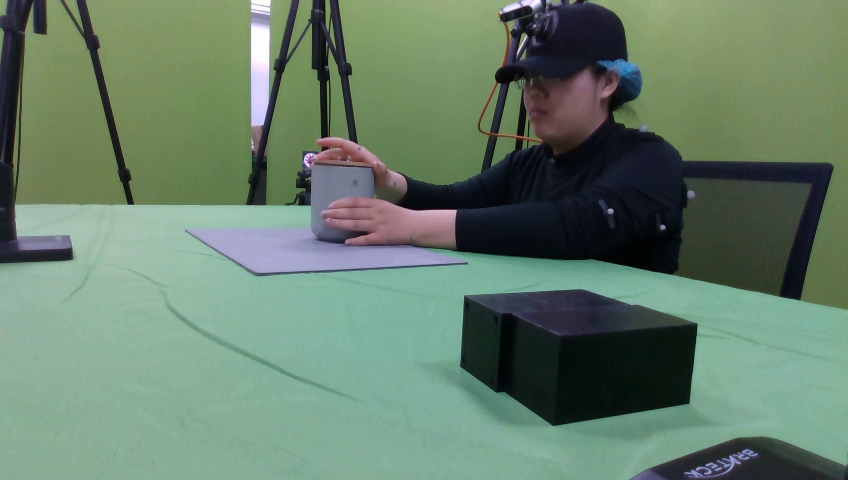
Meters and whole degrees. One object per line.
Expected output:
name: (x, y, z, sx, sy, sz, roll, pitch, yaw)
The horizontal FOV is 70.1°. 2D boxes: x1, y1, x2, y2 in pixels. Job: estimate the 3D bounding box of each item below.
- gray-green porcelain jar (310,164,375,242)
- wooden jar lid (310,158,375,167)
gray-green porcelain jar: (-0.139, -0.063, 1.025, 0.106, 0.126, 0.106, 3, 8, 0)
wooden jar lid: (-0.136, -0.125, 1.017, 0.108, 0.020, 0.108, 4, 8, 0)
